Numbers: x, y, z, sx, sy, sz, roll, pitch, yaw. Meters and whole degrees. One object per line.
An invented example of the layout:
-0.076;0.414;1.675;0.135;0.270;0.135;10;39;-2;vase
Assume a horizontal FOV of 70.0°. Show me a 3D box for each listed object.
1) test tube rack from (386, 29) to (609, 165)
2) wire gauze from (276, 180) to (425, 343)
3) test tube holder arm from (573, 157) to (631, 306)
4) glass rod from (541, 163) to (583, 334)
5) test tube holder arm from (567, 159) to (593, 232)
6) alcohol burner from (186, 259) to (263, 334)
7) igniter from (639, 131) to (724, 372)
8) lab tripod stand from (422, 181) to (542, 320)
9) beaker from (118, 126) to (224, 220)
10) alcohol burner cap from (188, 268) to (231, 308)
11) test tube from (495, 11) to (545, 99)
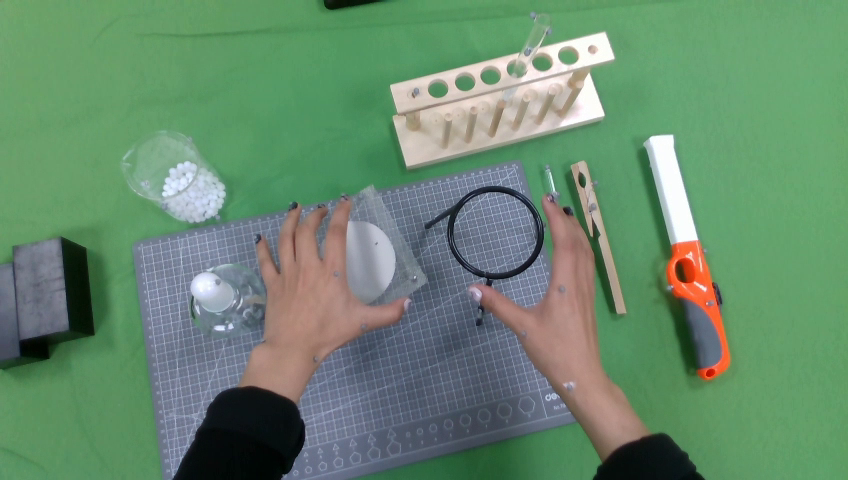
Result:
0.083;-0.159;0.685;0.242;0.085;0.066;-15;77;-5;test tube rack
-0.076;0.021;0.616;0.121;0.011;0.124;-34;79;11;wire gauze
0.199;-0.011;0.684;0.013;0.015;0.177;-25;73;33;test tube holder arm
0.157;0.008;0.688;0.008;0.008;0.199;-10;80;-4;glass rod
0.183;-0.051;0.697;0.010;0.015;0.087;-23;75;34;test tube holder arm
-0.206;0.054;0.610;0.078;0.119;0.077;0;75;0;alcohol burner
0.288;0.008;0.681;0.057;0.025;0.275;-6;77;-13;igniter
0.059;0.002;0.619;0.148;0.132;0.147;0;77;1;lab tripod stand
-0.265;-0.066;0.647;0.084;0.100;0.073;5;76;1;beaker
-0.206;0.043;0.575;0.034;0.048;0.033;1;66;-1;alcohol burner cap
0.099;-0.190;0.642;0.017;0.150;0.017;2;74;-7;test tube
